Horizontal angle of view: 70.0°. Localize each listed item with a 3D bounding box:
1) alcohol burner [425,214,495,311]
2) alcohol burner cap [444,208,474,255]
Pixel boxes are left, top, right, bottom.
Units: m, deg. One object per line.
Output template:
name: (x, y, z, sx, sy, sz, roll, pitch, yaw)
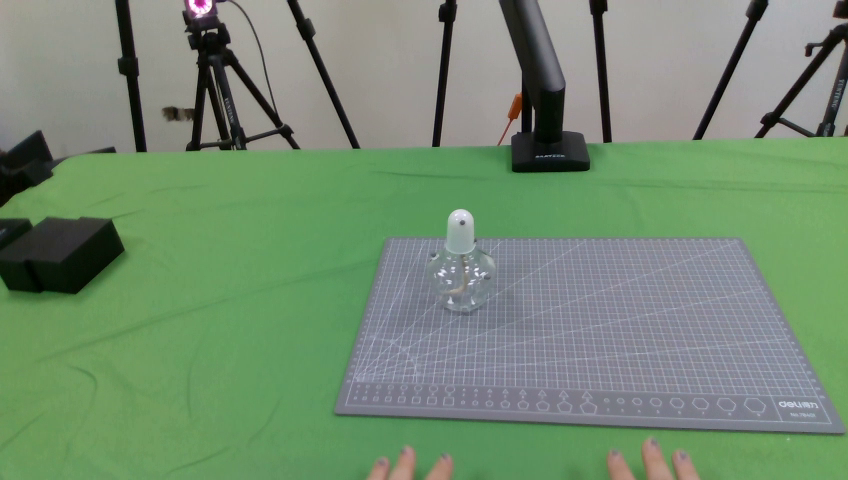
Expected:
alcohol burner: (0.040, 0.019, 0.665, 0.078, 0.120, 0.077, -2, 35, 2)
alcohol burner cap: (0.038, -0.011, 0.644, 0.034, 0.048, 0.033, 1, 36, -1)
